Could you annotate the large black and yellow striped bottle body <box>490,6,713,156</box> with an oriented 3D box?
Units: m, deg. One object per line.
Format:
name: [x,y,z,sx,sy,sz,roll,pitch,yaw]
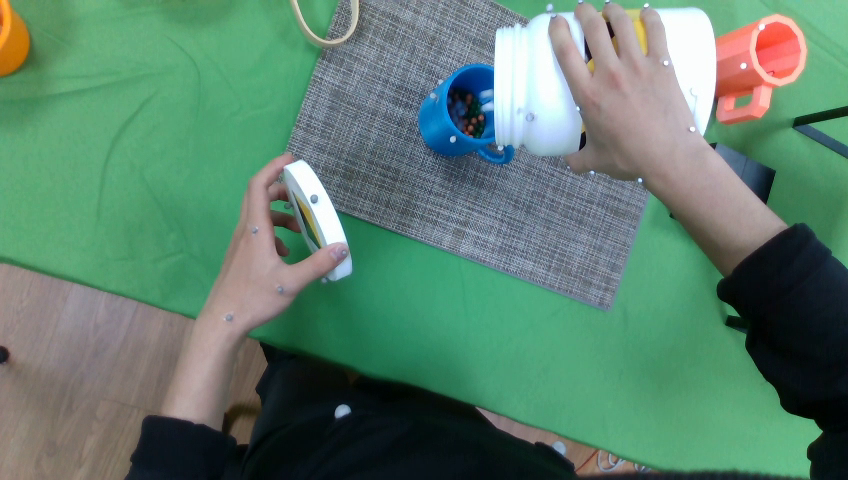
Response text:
large black and yellow striped bottle body: [0.157,-0.145,0.568,0.184,0.131,0.130,1,91,9]

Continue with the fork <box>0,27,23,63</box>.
fork: [-0.448,-0.224,0.517,0.028,0.018,0.209,-58,147,-8]

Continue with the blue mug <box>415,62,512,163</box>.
blue mug: [0.053,-0.132,0.678,0.082,0.105,0.117,-45,102,-10]

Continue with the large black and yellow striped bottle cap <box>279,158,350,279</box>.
large black and yellow striped bottle cap: [-0.102,-0.018,0.558,0.019,0.114,0.115,-26,98,-21]

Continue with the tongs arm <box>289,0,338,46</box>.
tongs arm: [-0.171,-0.393,0.626,0.051,0.026,0.386,-20,104,-17]

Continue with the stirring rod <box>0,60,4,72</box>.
stirring rod: [-0.448,-0.204,0.520,0.006,0.178,0.014,10,70,28]

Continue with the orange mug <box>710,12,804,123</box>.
orange mug: [0.414,-0.217,0.783,0.084,0.100,0.126,10,85,-15]

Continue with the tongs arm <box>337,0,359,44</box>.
tongs arm: [-0.092,-0.412,0.650,0.028,0.027,0.388,-6,100,-23]
